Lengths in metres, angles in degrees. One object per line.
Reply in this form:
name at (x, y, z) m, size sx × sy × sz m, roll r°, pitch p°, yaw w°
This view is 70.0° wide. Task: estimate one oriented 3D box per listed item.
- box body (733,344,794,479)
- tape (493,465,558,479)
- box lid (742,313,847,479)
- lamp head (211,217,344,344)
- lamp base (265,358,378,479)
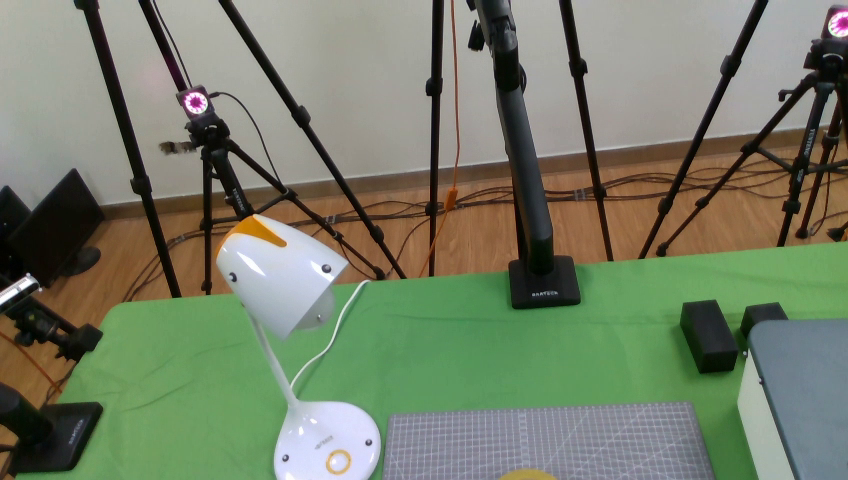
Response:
box body at (0.531, 0.273, 0.685) m, size 0.254 × 0.162 × 0.360 m, roll -4°, pitch 42°, yaw 9°
tape at (0.131, 0.351, 0.773) m, size 0.117 × 0.053 × 0.115 m, roll -6°, pitch 41°, yaw 6°
box lid at (0.520, 0.217, 0.638) m, size 0.263 × 0.015 × 0.368 m, roll -3°, pitch 42°, yaw 9°
lamp head at (-0.165, 0.036, 0.652) m, size 0.123 × 0.113 × 0.112 m, roll 35°, pitch 53°, yaw 0°
lamp base at (-0.168, 0.254, 0.858) m, size 0.177 × 0.182 × 0.160 m, roll 24°, pitch 52°, yaw 37°
